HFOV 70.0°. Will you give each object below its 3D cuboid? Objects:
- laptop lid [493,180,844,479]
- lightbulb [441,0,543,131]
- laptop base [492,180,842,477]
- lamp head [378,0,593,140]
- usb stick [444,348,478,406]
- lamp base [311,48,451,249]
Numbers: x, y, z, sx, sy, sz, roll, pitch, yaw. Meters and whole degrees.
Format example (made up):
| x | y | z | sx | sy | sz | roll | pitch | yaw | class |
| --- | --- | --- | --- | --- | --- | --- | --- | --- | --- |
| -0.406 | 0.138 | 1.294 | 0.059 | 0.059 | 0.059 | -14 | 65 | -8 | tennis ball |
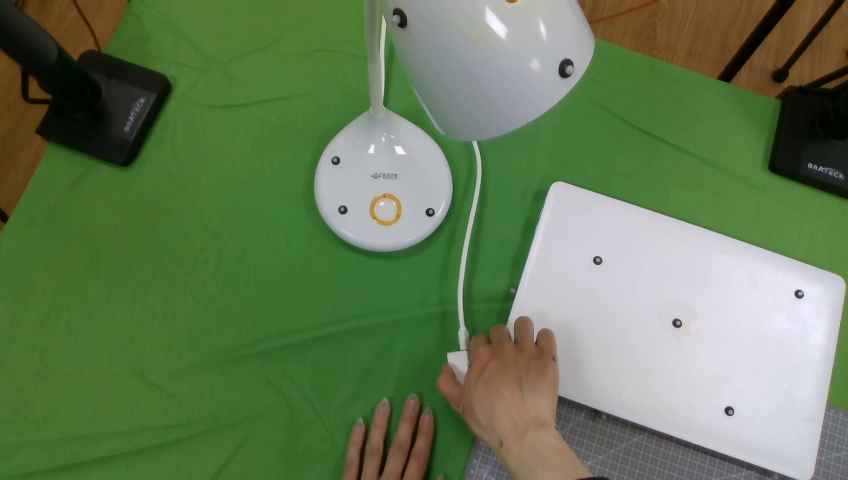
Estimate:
| x | y | z | sx | sy | sz | roll | pitch | yaw | class |
| --- | --- | --- | --- | --- | --- | --- | --- | --- | --- |
| 0.274 | 0.090 | 0.666 | 0.356 | 0.013 | 0.241 | 20 | 77 | 3 | laptop lid |
| 0.035 | -0.114 | 0.362 | 0.059 | 0.109 | 0.059 | -16 | 43 | 15 | lightbulb |
| 0.274 | 0.091 | 0.678 | 0.354 | 0.023 | 0.234 | 19 | 78 | 2 | laptop base |
| 0.022 | -0.138 | 0.349 | 0.112 | 0.111 | 0.124 | -51 | 124 | -13 | lamp head |
| 0.040 | 0.146 | 0.645 | 0.027 | 0.021 | 0.059 | -11 | 82 | 29 | usb stick |
| -0.049 | -0.098 | 0.627 | 0.161 | 0.181 | 0.178 | -10 | 73 | -5 | lamp base |
